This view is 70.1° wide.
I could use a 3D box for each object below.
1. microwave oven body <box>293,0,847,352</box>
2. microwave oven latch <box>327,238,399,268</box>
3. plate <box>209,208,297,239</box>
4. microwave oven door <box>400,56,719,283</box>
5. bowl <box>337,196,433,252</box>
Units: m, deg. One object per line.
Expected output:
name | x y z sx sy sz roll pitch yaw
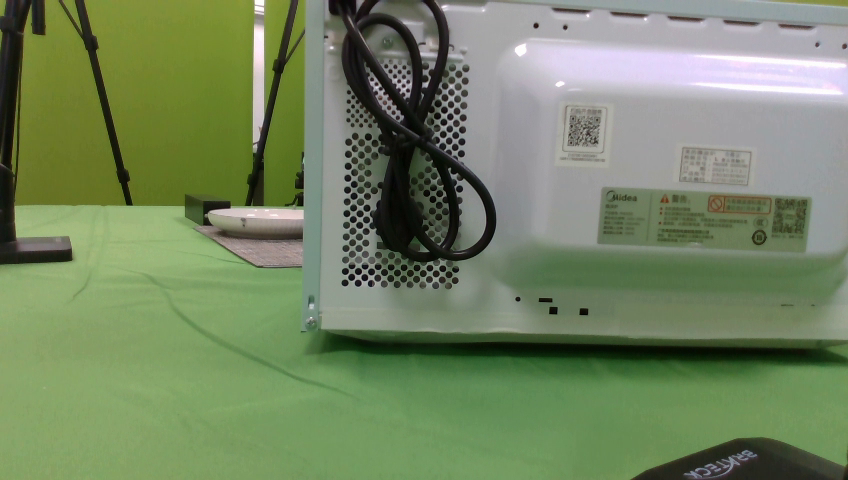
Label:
microwave oven body | 0.122 -0.055 0.550 0.442 0.260 0.325 3 7 -5
microwave oven latch | -0.069 0.015 0.694 0.079 0.029 0.030 3 7 -3
plate | -0.271 -0.029 1.074 0.208 0.039 0.207 3 7 0
microwave oven door | 0.155 -0.078 0.698 0.356 0.243 0.039 2 8 -5
bowl | -0.062 -0.025 0.955 0.151 0.077 0.151 3 8 0
